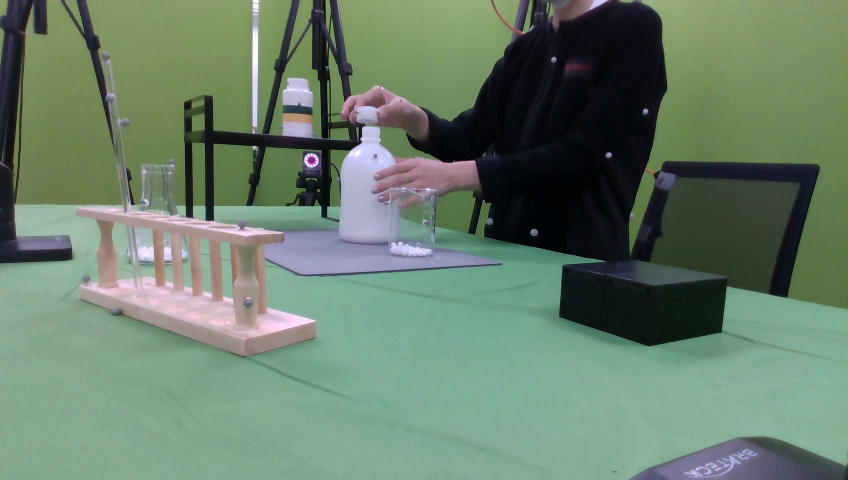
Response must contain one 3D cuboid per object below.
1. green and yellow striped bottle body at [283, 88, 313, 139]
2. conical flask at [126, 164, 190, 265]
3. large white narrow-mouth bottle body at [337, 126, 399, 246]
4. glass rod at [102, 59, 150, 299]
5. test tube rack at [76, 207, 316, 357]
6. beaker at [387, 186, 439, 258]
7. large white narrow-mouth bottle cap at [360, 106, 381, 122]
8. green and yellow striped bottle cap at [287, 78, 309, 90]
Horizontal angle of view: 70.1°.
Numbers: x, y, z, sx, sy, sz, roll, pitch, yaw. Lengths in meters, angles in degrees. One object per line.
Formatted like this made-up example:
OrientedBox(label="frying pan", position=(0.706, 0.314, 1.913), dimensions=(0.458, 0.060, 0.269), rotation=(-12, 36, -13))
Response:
OrientedBox(label="green and yellow striped bottle body", position=(-0.266, -0.275, 1.275), dimensions=(0.063, 0.119, 0.063), rotation=(3, 7, 0))
OrientedBox(label="conical flask", position=(-0.332, -0.033, 0.756), dimensions=(0.075, 0.122, 0.075), rotation=(2, 7, 0))
OrientedBox(label="large white narrow-mouth bottle body", position=(-0.092, -0.092, 1.014), dimensions=(0.102, 0.194, 0.101), rotation=(4, 9, 0))
OrientedBox(label="glass rod", position=(-0.243, -0.045, 0.496), dimensions=(0.008, 0.199, 0.008), rotation=(-4, 13, 1))
OrientedBox(label="test tube rack", position=(-0.196, 0.023, 0.500), dimensions=(0.241, 0.085, 0.067), rotation=(8, 9, 36))
OrientedBox(label="beaker", position=(-0.015, -0.027, 0.885), dimensions=(0.074, 0.100, 0.083), rotation=(-1, 8, -20))
OrientedBox(label="large white narrow-mouth bottle cap", position=(-0.089, -0.210, 1.009), dimensions=(0.038, 0.024, 0.037), rotation=(4, 8, 0))
OrientedBox(label="green and yellow striped bottle cap", position=(-0.265, -0.326, 1.268), dimensions=(0.045, 0.020, 0.045), rotation=(4, 6, 0))
